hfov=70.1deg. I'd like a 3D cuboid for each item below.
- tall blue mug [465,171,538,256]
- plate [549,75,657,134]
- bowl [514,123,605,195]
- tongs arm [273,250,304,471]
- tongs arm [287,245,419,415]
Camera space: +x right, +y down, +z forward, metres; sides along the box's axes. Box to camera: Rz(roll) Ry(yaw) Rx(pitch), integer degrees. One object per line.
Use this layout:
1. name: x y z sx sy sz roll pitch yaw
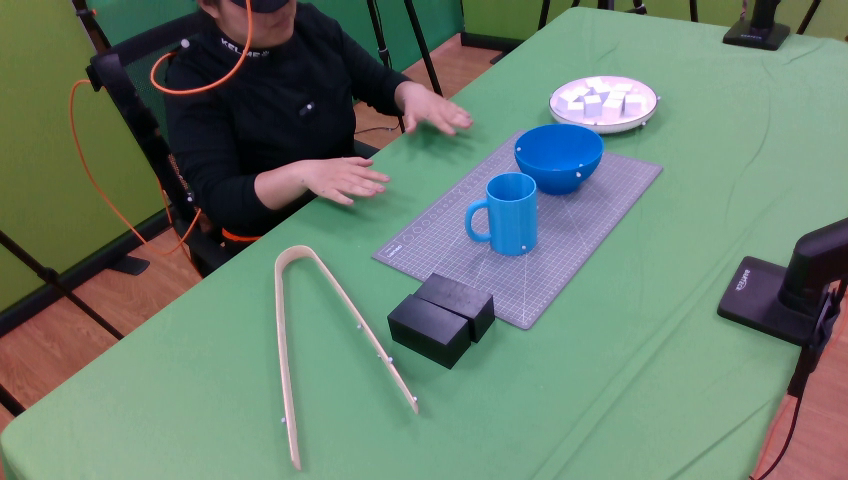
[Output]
1. tall blue mug: 0.125 -0.033 0.925 0.107 0.108 0.077 -32 46 -25
2. plate: 0.357 -0.269 1.220 0.209 0.038 0.208 -5 41 5
3. bowl: 0.232 -0.131 1.045 0.151 0.077 0.150 -5 40 5
4. tongs arm: -0.188 0.145 0.844 0.028 0.028 0.384 -22 41 0
5. tongs arm: -0.114 0.113 0.859 0.051 0.027 0.381 -28 43 -12
